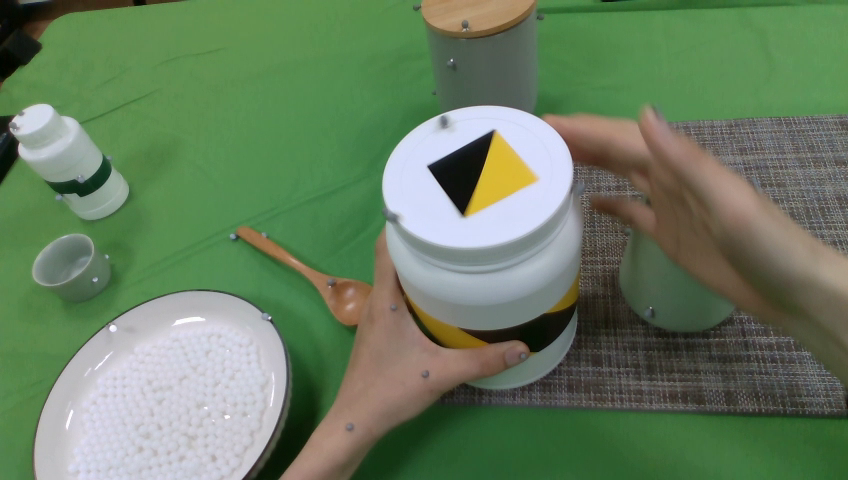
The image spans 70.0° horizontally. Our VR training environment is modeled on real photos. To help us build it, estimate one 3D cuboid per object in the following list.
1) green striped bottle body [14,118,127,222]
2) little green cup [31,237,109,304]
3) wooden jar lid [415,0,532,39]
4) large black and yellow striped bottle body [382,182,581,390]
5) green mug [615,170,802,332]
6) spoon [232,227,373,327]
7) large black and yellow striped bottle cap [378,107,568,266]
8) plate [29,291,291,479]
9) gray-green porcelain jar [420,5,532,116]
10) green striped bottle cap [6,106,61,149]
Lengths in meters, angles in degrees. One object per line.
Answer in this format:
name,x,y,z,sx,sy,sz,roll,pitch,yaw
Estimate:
green striped bottle body,-0.368,-0.077,0.626,0.063,0.120,0.062,-5,53,8
little green cup,-0.344,0.031,0.593,0.061,0.039,0.061,-5,52,7
wooden jar lid,0.047,-0.215,0.562,0.108,0.021,0.107,-7,51,10
large black and yellow striped bottle body,0.044,0.014,0.435,0.130,0.186,0.129,-5,54,8
green mug,0.211,0.015,0.453,0.124,0.106,0.092,17,59,22
spoon,-0.119,0.026,0.564,0.192,0.022,0.041,29,79,27
large black and yellow striped bottle cap,0.029,-0.036,0.367,0.115,0.019,0.114,-5,55,7
plate,-0.205,0.138,0.489,0.209,0.038,0.207,-5,53,7
gray-green porcelain jar,0.056,-0.174,0.610,0.106,0.128,0.105,-5,49,6
green striped bottle cap,-0.377,-0.109,0.585,0.044,0.020,0.044,-4,55,6
